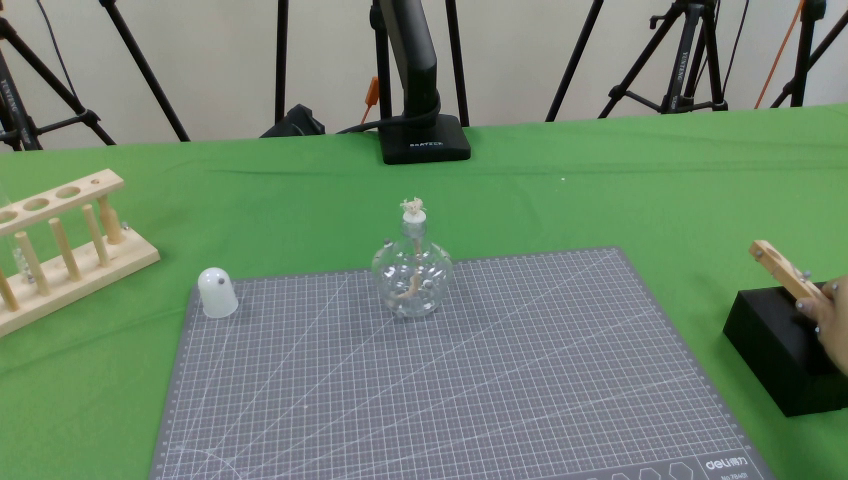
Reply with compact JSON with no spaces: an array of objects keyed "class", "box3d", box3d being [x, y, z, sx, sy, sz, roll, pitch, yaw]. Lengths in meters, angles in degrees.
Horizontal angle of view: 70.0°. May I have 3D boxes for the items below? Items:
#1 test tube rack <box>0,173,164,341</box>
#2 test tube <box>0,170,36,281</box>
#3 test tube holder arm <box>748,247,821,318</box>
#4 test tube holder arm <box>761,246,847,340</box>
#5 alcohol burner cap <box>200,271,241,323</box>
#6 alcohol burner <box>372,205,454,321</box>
[{"class":"test tube rack","box3d":[-0.380,0.029,0.560,0.066,0.086,0.242,29,45,33]},{"class":"test tube","box3d":[-0.381,-0.027,0.552,0.017,0.151,0.017,0,31,0]},{"class":"test tube holder arm","box3d":[0.323,0.037,0.542,0.010,0.015,0.087,-8,37,-11]},{"class":"test tube holder arm","box3d":[0.340,0.062,0.508,0.013,0.015,0.176,-9,38,-13]},{"class":"alcohol burner cap","box3d":[-0.192,0.050,0.568,0.034,0.048,0.033,1,38,-1]},{"class":"alcohol burner","box3d":[-0.010,0.017,0.557,0.078,0.120,0.077,2,38,-1]}]
